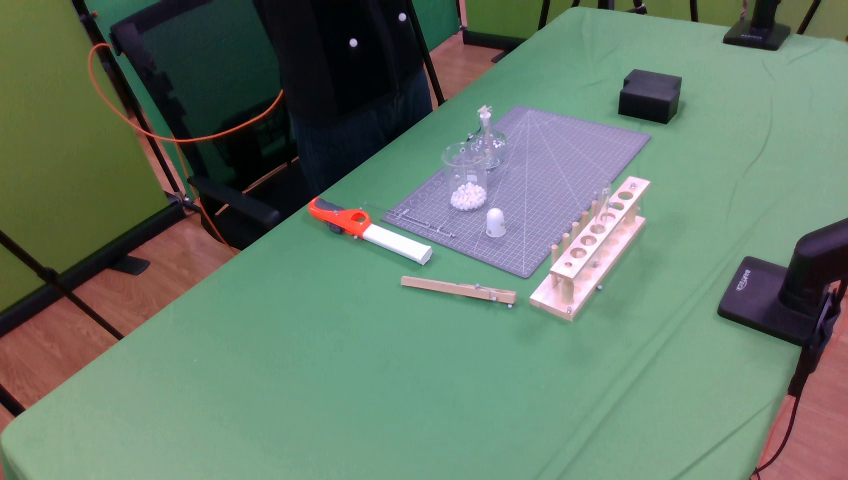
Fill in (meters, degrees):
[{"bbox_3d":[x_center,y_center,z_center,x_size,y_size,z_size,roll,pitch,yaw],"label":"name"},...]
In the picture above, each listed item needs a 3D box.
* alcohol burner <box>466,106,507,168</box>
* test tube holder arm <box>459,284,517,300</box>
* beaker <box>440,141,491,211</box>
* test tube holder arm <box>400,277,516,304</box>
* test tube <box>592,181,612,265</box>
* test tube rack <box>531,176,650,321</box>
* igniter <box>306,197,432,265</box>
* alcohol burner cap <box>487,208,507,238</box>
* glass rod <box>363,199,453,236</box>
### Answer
[{"bbox_3d":[0.114,-0.193,1.112,0.078,0.119,0.077,-4,41,4],"label":"alcohol burner"},{"bbox_3d":[0.091,0.077,0.877,0.087,0.015,0.010,8,10,20],"label":"test tube holder arm"},{"bbox_3d":[0.074,-0.106,1.028,0.084,0.101,0.073,-2,41,8],"label":"beaker"},{"bbox_3d":[0.047,0.073,0.887,0.177,0.015,0.013,7,9,19],"label":"test tube holder arm"},{"bbox_3d":[0.245,-0.020,0.833,0.017,0.151,0.017,-5,45,5],"label":"test tube"},{"bbox_3d":[0.246,0.002,0.884,0.066,0.085,0.243,22,49,32],"label":"test tube rack"},{"bbox_3d":[-0.102,-0.020,1.019,0.274,0.025,0.057,23,60,32],"label":"igniter"},{"bbox_3d":[0.116,-0.030,0.975,0.034,0.048,0.033,-6,40,5],"label":"alcohol burner cap"},{"bbox_3d":[-0.031,-0.041,1.041,0.198,0.008,0.008,22,50,31],"label":"glass rod"}]
